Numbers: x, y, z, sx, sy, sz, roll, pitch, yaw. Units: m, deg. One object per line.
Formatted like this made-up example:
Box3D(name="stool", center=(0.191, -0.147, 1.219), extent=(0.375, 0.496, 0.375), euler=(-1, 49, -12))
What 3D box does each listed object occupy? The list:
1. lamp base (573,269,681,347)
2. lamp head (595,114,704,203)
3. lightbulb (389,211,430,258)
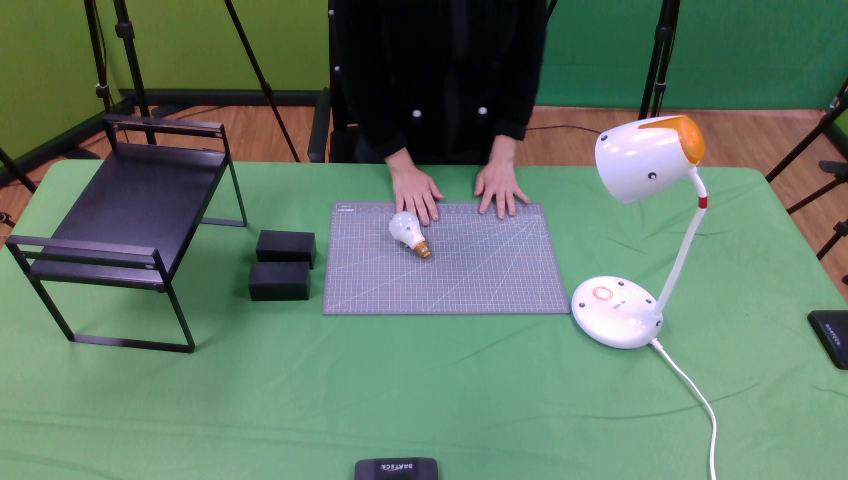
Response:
Box3D(name="lamp base", center=(0.361, 0.080, 1.035), extent=(0.160, 0.181, 0.178), euler=(-34, 59, -31))
Box3D(name="lamp head", center=(0.316, -0.116, 0.827), extent=(0.122, 0.113, 0.112), euler=(-15, 28, 45))
Box3D(name="lightbulb", center=(-0.025, -0.009, 1.182), extent=(0.059, 0.060, 0.107), euler=(-29, 70, -28))
